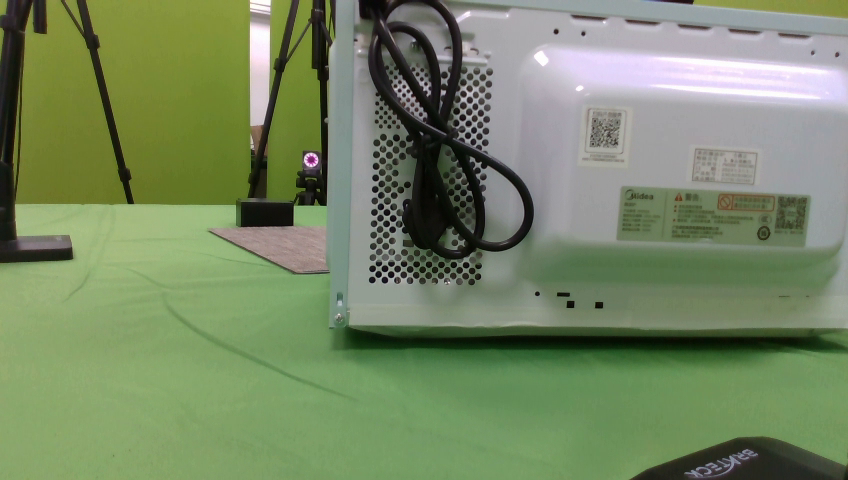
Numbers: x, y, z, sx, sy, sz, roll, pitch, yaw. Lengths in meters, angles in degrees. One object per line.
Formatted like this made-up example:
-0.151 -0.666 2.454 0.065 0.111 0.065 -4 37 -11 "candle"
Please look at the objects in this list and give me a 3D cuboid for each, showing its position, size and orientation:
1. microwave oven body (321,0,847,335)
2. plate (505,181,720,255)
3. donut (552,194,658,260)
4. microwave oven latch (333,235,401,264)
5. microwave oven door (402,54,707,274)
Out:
0.133 -0.062 0.567 0.443 0.260 0.325 2 6 -8 "microwave oven body"
0.184 -0.024 0.616 0.209 0.038 0.209 5 15 -1 "plate"
0.171 -0.015 0.575 0.099 0.048 0.099 -11 14 3 "donut"
-0.065 0.011 0.700 0.079 0.029 0.030 2 6 -9 "microwave oven latch"
0.157 -0.085 0.717 0.357 0.243 0.039 1 8 -8 "microwave oven door"
